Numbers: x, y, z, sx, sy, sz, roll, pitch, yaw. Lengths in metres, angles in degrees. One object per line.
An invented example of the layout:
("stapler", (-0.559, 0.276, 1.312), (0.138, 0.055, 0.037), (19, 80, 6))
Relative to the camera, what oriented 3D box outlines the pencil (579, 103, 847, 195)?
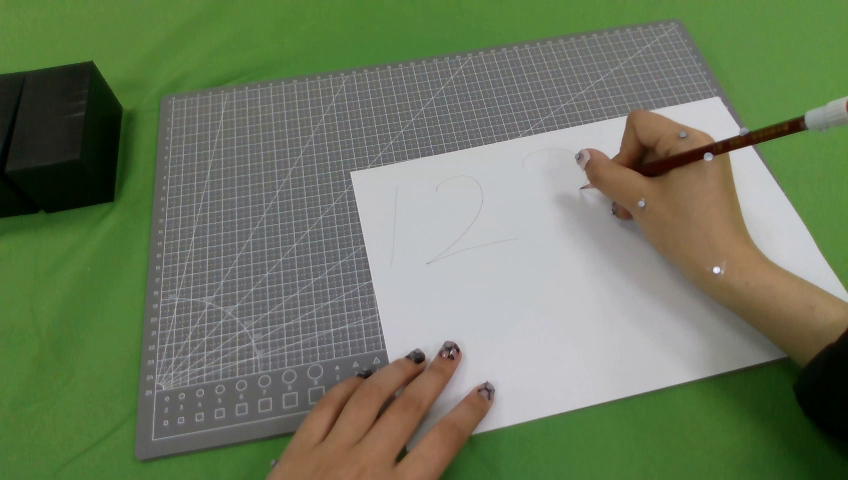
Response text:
("pencil", (0.156, -0.046, 0.354), (0.012, 0.193, 0.012), (4, 80, -27))
